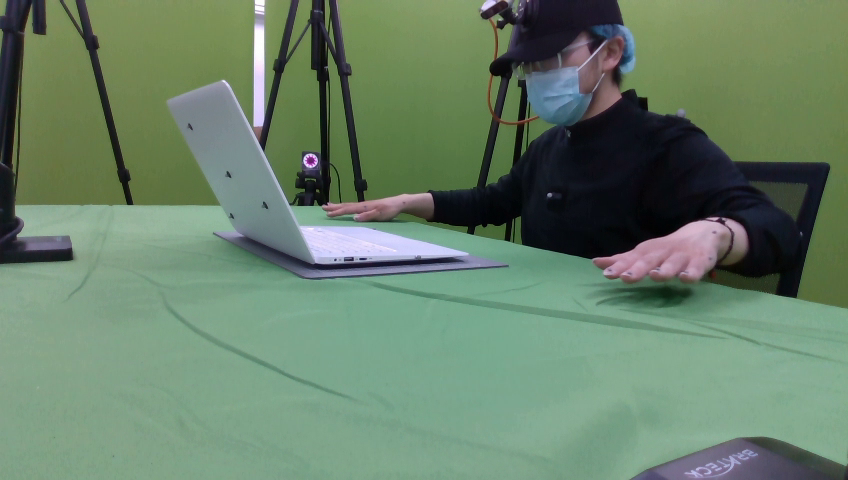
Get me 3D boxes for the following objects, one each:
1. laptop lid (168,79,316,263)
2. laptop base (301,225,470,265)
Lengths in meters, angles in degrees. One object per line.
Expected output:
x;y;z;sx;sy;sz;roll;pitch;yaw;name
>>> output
-0.264;-0.093;0.831;0.013;0.242;0.355;-33;25;-25;laptop lid
-0.123;0.005;0.936;0.237;0.023;0.352;2;6;-33;laptop base
